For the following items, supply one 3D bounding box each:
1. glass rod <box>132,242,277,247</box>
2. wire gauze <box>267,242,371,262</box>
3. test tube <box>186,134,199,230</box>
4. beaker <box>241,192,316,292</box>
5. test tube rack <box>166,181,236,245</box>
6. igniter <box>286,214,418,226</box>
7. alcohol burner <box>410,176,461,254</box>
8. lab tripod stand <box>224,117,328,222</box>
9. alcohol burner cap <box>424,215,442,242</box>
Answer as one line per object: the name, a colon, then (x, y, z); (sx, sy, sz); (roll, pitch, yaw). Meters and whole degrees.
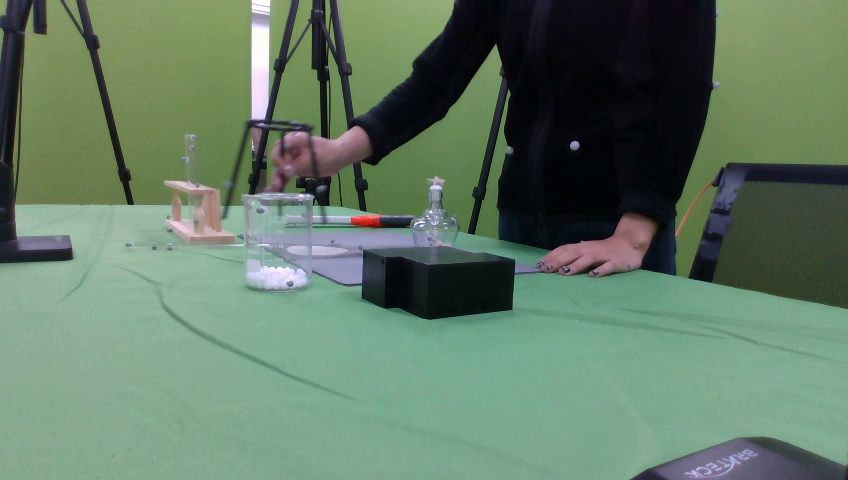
glass rod: (-0.316, 0.007, 0.885); (0.201, 0.008, 0.008); (0, 7, -27)
wire gauze: (-0.156, 0.014, 0.877); (0.122, 0.011, 0.124); (-3, 10, -29)
test tube: (-0.360, -0.089, 0.946); (0.017, 0.150, 0.017); (0, 10, 0)
beaker: (-0.157, 0.000, 0.642); (0.084, 0.100, 0.074); (4, 7, 19)
test tube rack: (-0.383, -0.051, 1.024); (0.067, 0.085, 0.241); (-2, 9, -31)
igniter: (-0.145, -0.043, 1.262); (0.278, 0.025, 0.057); (-1, -2, -25)
alcohol burner: (0.018, -0.040, 0.931); (0.078, 0.119, 0.078); (0, 7, 0)
lab tripod stand: (-0.193, -0.092, 0.803); (0.148, 0.131, 0.148); (3, 5, 0)
alcohol burner cap: (0.017, -0.022, 1.098); (0.034, 0.048, 0.034); (2, 9, 0)
